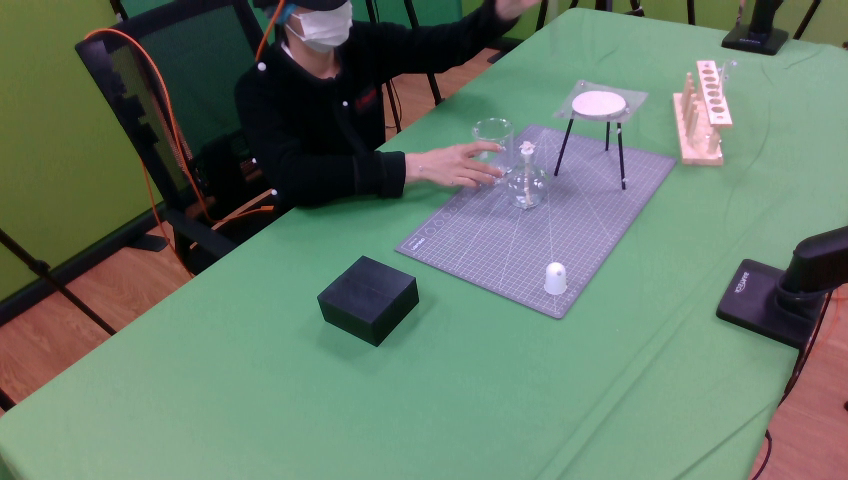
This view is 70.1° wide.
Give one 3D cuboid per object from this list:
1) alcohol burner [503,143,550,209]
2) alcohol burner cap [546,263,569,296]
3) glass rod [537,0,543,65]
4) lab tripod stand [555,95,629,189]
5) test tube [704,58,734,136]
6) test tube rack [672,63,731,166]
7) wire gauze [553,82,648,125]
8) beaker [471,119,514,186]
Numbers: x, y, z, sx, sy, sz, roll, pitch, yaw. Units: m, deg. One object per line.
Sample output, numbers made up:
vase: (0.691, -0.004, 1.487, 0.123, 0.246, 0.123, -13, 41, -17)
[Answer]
alcohol burner: (0.171, -0.111, 1.006, 0.078, 0.119, 0.077, -3, 41, 3)
alcohol burner cap: (0.191, 0.053, 0.862, 0.034, 0.048, 0.033, -5, 40, 4)
glass rod: (0.193, -0.396, 1.007, 0.008, 0.200, 0.008, -4, 17, 2)
lab tripod stand: (0.300, -0.174, 1.045, 0.148, 0.132, 0.147, -5, 38, 5)
test tube: (0.517, -0.247, 1.062, 0.017, 0.151, 0.017, -3, 43, 4)
test tube rack: (0.513, -0.241, 1.132, 0.066, 0.085, 0.242, 4, 41, 14)
wire gauze: (0.293, -0.225, 1.002, 0.120, 0.011, 0.125, 17, 45, 27)
beaker: (0.126, -0.155, 1.077, 0.084, 0.101, 0.073, -35, 47, -29)
